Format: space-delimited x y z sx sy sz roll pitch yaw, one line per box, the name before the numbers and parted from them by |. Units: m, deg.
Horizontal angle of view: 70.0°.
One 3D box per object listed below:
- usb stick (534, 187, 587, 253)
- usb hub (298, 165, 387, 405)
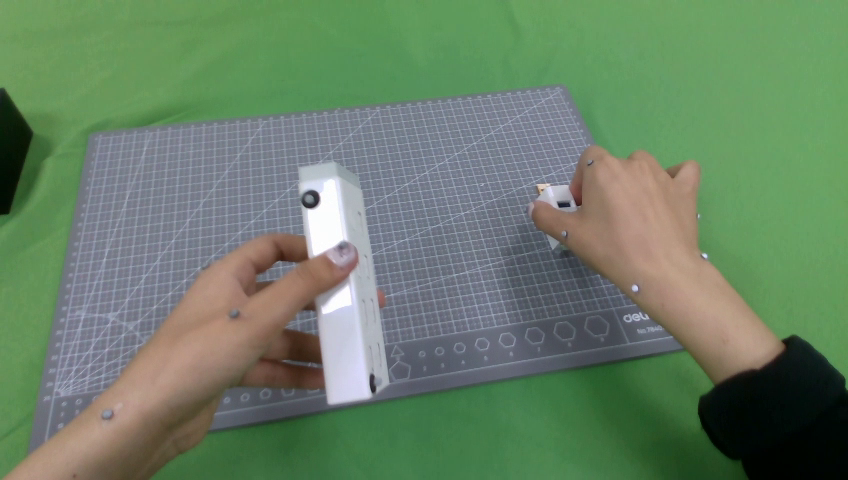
usb stick | 0.102 -0.021 0.467 0.021 0.027 0.058 -5 56 -18
usb hub | -0.045 0.025 0.337 0.025 0.049 0.125 -10 85 8
